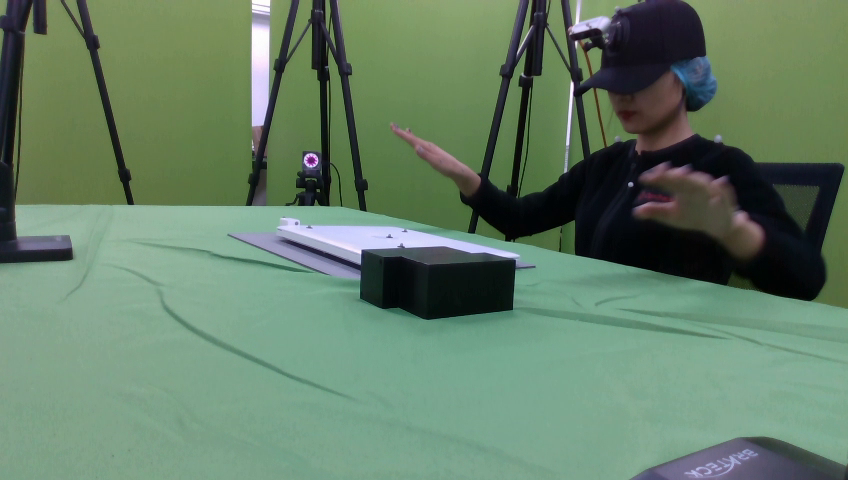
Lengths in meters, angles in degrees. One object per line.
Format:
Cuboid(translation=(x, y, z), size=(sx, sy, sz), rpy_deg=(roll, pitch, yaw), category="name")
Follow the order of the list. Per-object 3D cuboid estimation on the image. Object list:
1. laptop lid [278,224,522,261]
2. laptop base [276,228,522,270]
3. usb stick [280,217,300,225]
Cuboid(translation=(-0.052, -0.001, 0.909), size=(0.243, 0.013, 0.355), rpy_deg=(0, 7, -32), category="laptop lid")
Cuboid(translation=(-0.054, 0.011, 0.910), size=(0.237, 0.023, 0.352), rpy_deg=(1, 6, -33), category="laptop base")
Cuboid(translation=(-0.225, -0.023, 1.024), size=(0.021, 0.027, 0.059), rpy_deg=(0, 9, -31), category="usb stick")
